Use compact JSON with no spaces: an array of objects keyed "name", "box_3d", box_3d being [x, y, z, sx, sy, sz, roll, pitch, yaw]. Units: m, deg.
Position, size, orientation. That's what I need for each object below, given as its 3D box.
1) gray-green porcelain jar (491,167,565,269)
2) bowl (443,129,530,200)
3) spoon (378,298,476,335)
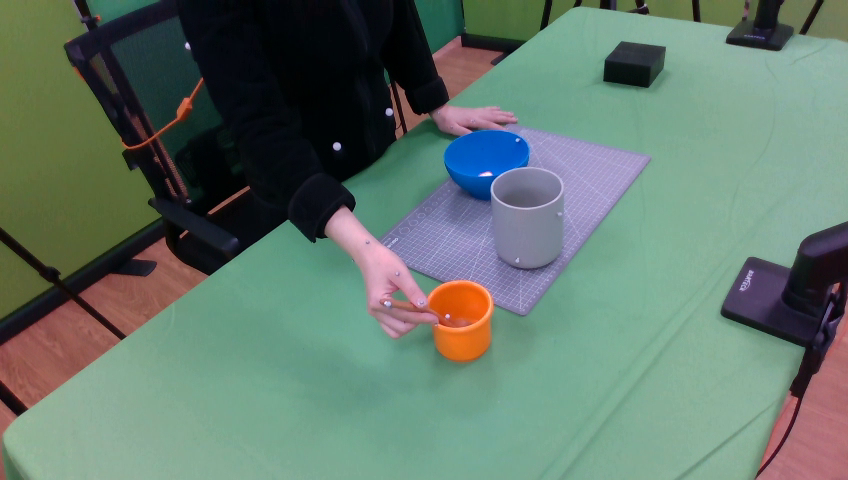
[{"name":"gray-green porcelain jar","box_3d":[0.157,-0.029,0.904,0.106,0.127,0.105,-6,40,5]},{"name":"bowl","box_3d":[0.113,-0.123,1.063,0.151,0.077,0.150,-6,40,5]},{"name":"spoon","box_3d":[0.006,0.094,0.761,0.041,0.195,0.021,29,90,41]}]
